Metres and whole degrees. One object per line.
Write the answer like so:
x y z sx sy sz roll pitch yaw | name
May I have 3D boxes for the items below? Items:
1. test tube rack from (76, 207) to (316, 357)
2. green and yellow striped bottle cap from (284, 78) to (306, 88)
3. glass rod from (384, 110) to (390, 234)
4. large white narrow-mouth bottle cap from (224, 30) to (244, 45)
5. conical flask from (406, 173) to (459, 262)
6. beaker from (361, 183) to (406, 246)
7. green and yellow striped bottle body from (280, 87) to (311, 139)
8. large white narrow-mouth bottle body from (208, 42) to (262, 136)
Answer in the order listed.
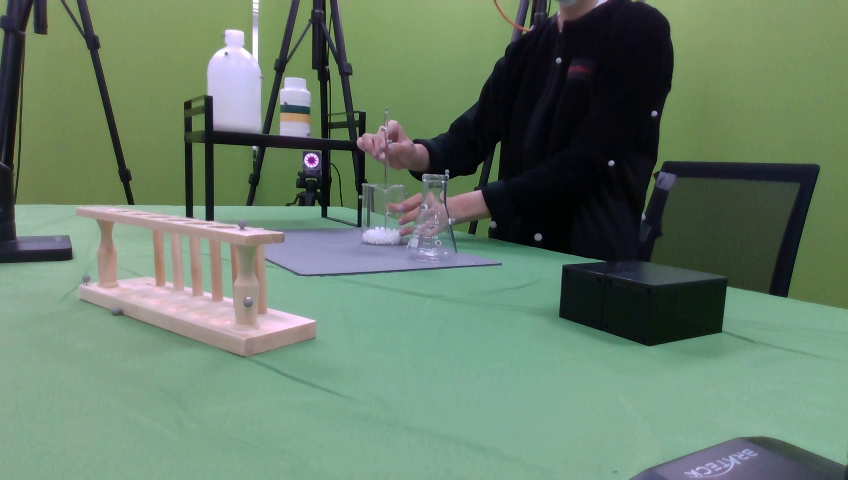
-0.196 0.023 0.500 0.241 0.085 0.067 8 9 36 | test tube rack
-0.268 -0.325 1.259 0.045 0.020 0.045 5 8 0 | green and yellow striped bottle cap
-0.059 -0.108 0.970 0.008 0.199 0.008 -1 3 0 | glass rod
-0.365 -0.389 1.166 0.038 0.024 0.037 2 9 0 | large white narrow-mouth bottle cap
0.014 -0.033 0.851 0.075 0.122 0.075 2 7 0 | conical flask
-0.067 -0.042 0.993 0.074 0.100 0.084 1 8 -8 | beaker
-0.269 -0.274 1.266 0.063 0.119 0.063 3 7 0 | green and yellow striped bottle body
-0.368 -0.304 1.181 0.102 0.194 0.101 2 9 0 | large white narrow-mouth bottle body
